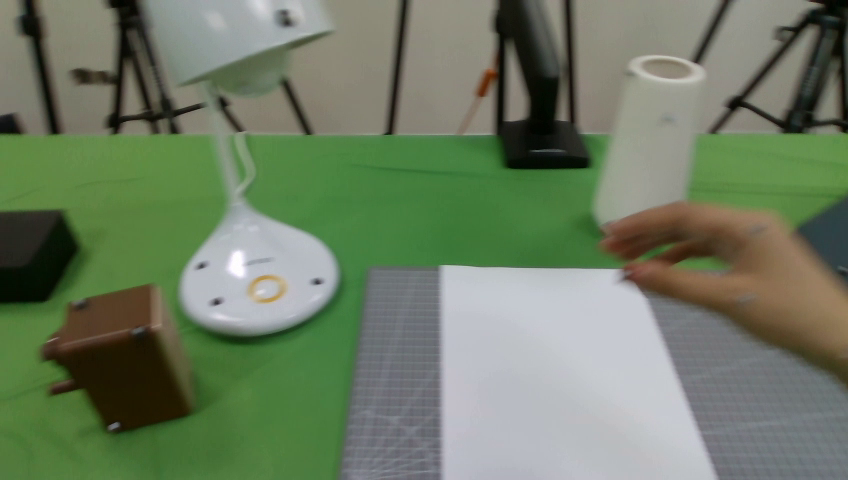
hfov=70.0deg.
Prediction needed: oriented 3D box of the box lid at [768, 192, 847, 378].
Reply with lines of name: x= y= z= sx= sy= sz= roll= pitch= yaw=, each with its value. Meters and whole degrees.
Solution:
box lid: x=0.472 y=0.048 z=0.489 sx=0.015 sy=0.263 sz=0.368 roll=37 pitch=30 yaw=-25

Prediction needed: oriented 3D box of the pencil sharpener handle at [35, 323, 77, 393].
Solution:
pencil sharpener handle: x=-0.293 y=0.096 z=0.476 sx=0.031 sy=0.068 sz=0.035 roll=-13 pitch=45 yaw=-15

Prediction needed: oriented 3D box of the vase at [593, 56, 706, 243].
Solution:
vase: x=0.248 y=-0.095 z=0.671 sx=0.098 sy=0.202 sz=0.097 roll=-1 pitch=37 yaw=1

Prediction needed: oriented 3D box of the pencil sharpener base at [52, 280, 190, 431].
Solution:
pencil sharpener base: x=-0.244 y=0.096 z=0.496 sx=0.077 sy=0.108 sz=0.060 roll=-13 pitch=40 yaw=-15

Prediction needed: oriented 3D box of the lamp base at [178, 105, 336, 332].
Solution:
lamp base: x=-0.181 y=-0.030 z=0.600 sx=0.161 sy=0.182 sz=0.177 roll=-20 pitch=40 yaw=-24

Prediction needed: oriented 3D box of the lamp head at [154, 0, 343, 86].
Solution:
lamp head: x=-0.126 y=-0.172 z=0.387 sx=0.112 sy=0.123 sz=0.112 roll=-22 pitch=14 yaw=6
